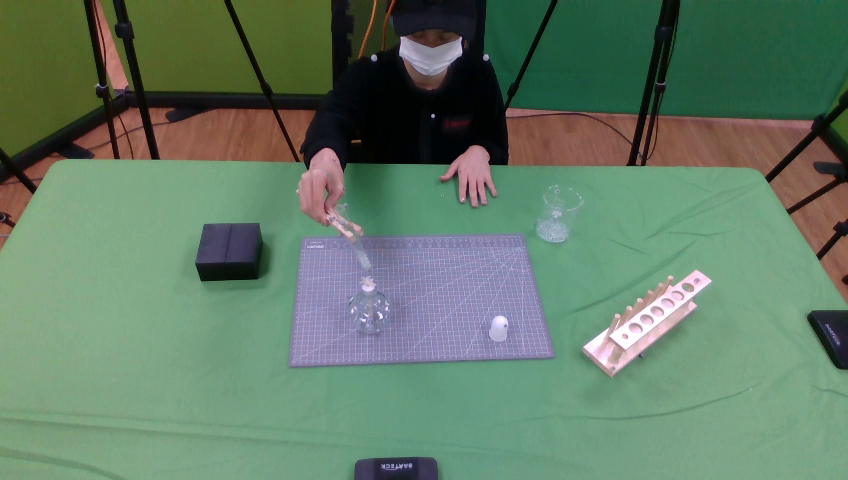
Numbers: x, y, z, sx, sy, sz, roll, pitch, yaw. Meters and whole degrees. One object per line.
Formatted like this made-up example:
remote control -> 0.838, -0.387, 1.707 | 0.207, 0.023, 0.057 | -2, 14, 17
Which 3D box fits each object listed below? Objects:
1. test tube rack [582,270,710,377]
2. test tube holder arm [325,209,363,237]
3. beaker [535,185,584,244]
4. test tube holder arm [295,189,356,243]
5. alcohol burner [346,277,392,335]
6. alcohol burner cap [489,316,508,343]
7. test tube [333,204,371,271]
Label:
test tube rack -> 0.389, 0.132, 1.057 | 0.242, 0.085, 0.066 | -28, 54, -28
test tube holder arm -> -0.124, -0.027, 0.916 | 0.087, 0.015, 0.010 | 26, 59, 38
beaker -> 0.268, -0.048, 1.213 | 0.084, 0.101, 0.073 | 6, 46, 0
test tube holder arm -> -0.157, -0.041, 0.944 | 0.013, 0.015, 0.177 | -37, 45, -19
alcohol burner -> -0.093, 0.106, 1.021 | 0.078, 0.120, 0.077 | 1, 46, -1
alcohol burner cap -> 0.130, 0.151, 1.045 | 0.034, 0.048, 0.033 | 2, 46, -2
test tube -> -0.107, -0.001, 0.919 | 0.017, 0.151, 0.017 | -8, 50, 9
